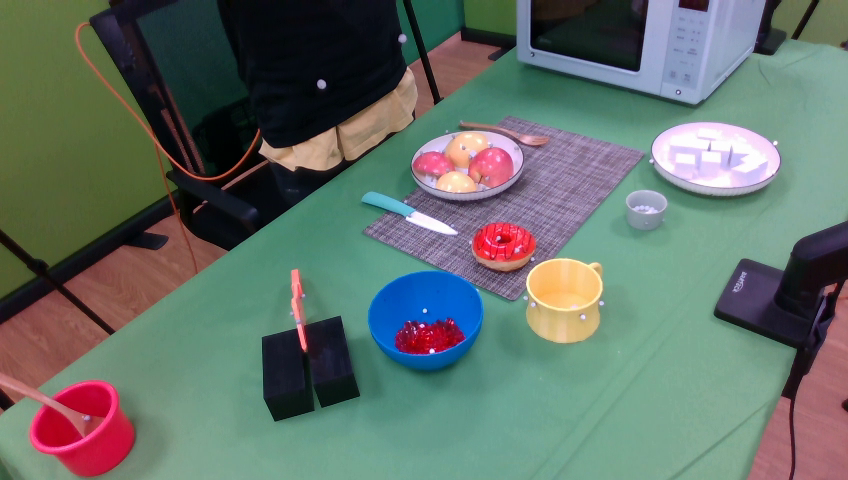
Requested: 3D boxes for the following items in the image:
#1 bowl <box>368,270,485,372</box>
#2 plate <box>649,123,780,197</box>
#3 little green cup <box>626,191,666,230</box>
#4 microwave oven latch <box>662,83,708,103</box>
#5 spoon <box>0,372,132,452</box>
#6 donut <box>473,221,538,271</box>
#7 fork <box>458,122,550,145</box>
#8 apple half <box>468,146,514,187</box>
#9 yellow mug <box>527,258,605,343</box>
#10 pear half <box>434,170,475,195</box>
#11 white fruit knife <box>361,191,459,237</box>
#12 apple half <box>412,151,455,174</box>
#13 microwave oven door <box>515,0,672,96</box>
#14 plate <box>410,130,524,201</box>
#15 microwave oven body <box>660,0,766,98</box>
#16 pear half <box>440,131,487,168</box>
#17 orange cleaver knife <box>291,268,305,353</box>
[{"bbox_3d":[0.007,0.118,0.791,0.151,0.077,0.150,-5,40,4],"label":"bowl"},{"bbox_3d":[0.497,-0.135,1.046,0.207,0.039,0.206,-4,40,4],"label":"plate"},{"bbox_3d":[0.352,-0.046,0.963,0.061,0.039,0.061,-4,40,4],"label":"little green cup"},{"bbox_3d":[0.518,-0.296,1.204,0.078,0.029,0.030,28,52,35],"label":"microwave oven latch"},{"bbox_3d":[-0.439,0.195,0.715,0.195,0.021,0.041,37,41,-16],"label":"spoon"},{"bbox_3d":[0.123,0.008,0.923,0.099,0.048,0.098,-3,38,3],"label":"donut"},{"bbox_3d":[0.154,-0.215,1.204,0.206,0.019,0.028,20,57,29],"label":"fork"},{"bbox_3d":[0.119,-0.137,1.073,0.080,0.053,0.075,25,49,38],"label":"apple half"},{"bbox_3d":[0.202,0.073,0.824,0.131,0.064,0.099,-32,46,-27],"label":"yellow mug"},{"bbox_3d":[0.052,-0.105,1.051,0.071,0.031,0.087,-5,32,-28],"label":"pear half"},{"bbox_3d":[-0.025,-0.045,1.033,0.206,0.016,0.027,24,80,30],"label":"white fruit knife"},{"bbox_3d":[0.022,-0.144,1.097,0.081,0.033,0.081,7,22,-2],"label":"apple half"},{"bbox_3d":[0.343,-0.454,1.259,0.353,0.245,0.039,26,51,33],"label":"microwave oven door"},{"bbox_3d":[0.078,-0.133,1.101,0.209,0.038,0.208,-4,40,4],"label":"plate"},{"bbox_3d":[0.472,-0.513,1.317,0.438,0.261,0.327,26,51,34],"label":"microwave oven body"},{"bbox_3d":[0.064,-0.173,1.129,0.110,0.056,0.076,-6,35,4],"label":"pear half"},{"bbox_3d":[-0.175,0.093,0.844,0.012,0.077,0.210,-11,15,-10],"label":"orange cleaver knife"}]
